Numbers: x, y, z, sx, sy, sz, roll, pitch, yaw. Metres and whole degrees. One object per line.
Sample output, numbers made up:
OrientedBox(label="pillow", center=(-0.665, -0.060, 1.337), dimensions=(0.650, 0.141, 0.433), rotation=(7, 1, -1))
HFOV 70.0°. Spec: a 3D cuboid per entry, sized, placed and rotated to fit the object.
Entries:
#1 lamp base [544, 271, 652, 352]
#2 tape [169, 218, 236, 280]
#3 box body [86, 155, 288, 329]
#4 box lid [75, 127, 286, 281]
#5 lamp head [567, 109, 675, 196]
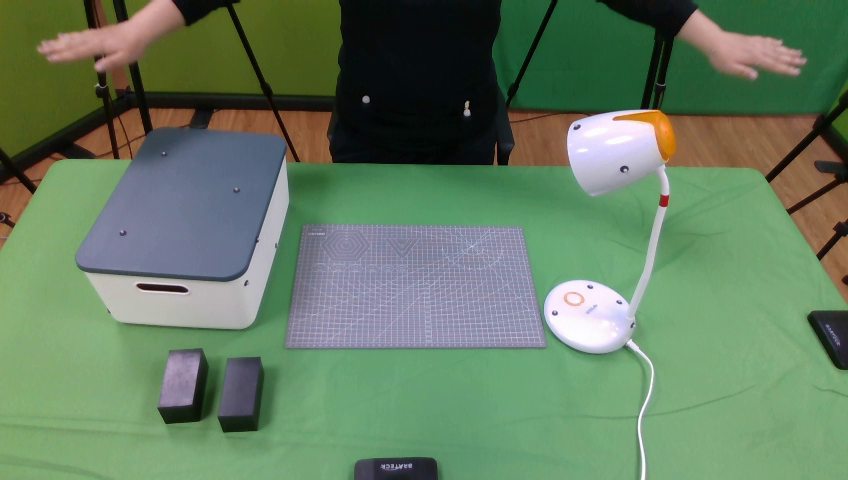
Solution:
OrientedBox(label="lamp base", center=(0.309, 0.086, 1.029), dimensions=(0.178, 0.181, 0.160), rotation=(32, 52, 21))
OrientedBox(label="tape", center=(-0.409, 0.015, 1.122), dimensions=(0.117, 0.053, 0.116), rotation=(2, 46, -2))
OrientedBox(label="box body", center=(-0.401, -0.025, 1.094), dimensions=(0.254, 0.161, 0.362), rotation=(3, 46, -1))
OrientedBox(label="box lid", center=(-0.398, -0.075, 1.039), dimensions=(0.263, 0.015, 0.369), rotation=(4, 45, -1))
OrientedBox(label="lamp head", center=(0.272, -0.123, 0.818), dimensions=(0.122, 0.113, 0.112), rotation=(-9, 35, 37))
